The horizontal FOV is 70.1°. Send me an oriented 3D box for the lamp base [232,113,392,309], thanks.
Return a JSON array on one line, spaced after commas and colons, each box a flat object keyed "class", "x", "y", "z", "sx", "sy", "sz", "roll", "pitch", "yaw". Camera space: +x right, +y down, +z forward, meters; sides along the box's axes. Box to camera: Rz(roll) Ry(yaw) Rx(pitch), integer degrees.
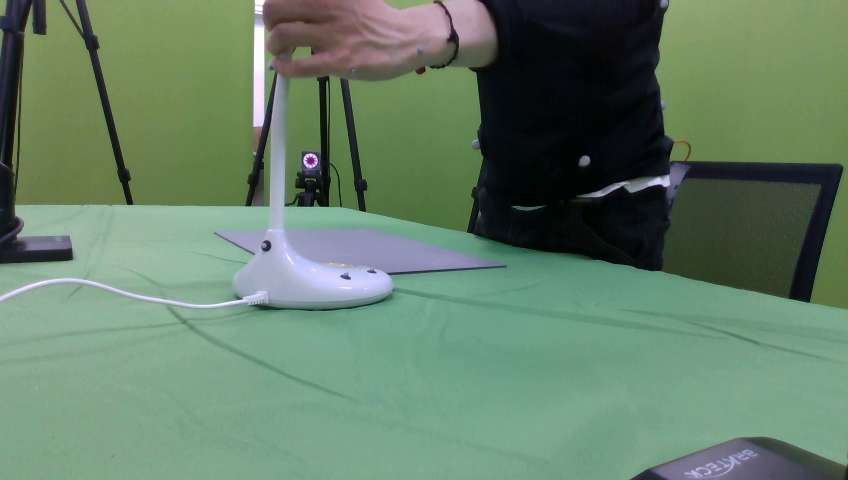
[{"class": "lamp base", "x": -0.113, "y": -0.031, "z": 0.594, "sx": 0.160, "sy": 0.180, "sz": 0.179, "roll": 4, "pitch": 10, "yaw": 18}]
